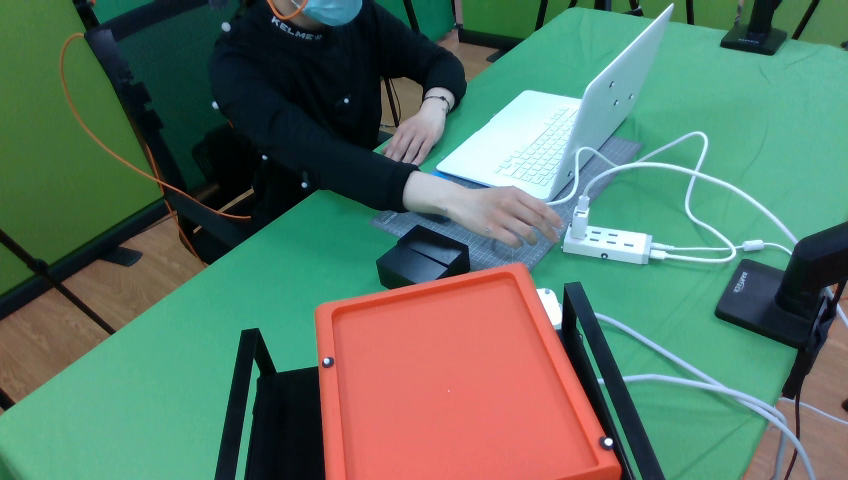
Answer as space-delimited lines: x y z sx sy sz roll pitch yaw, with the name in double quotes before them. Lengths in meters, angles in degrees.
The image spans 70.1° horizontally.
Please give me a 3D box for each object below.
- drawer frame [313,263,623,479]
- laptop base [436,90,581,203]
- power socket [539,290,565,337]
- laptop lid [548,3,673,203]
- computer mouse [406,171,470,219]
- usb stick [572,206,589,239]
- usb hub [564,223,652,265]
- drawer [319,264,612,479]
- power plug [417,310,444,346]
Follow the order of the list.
"drawer frame" 0.021 0.130 0.493 0.202 0.083 0.212 -11 41 -6
"laptop base" 0.214 -0.192 1.172 0.233 0.023 0.355 19 46 32
"power socket" 0.081 0.112 0.822 0.227 0.033 0.072 -6 41 0
"laptop lid" 0.320 -0.235 1.026 0.013 0.242 0.357 31 50 20
"computer mouse" 0.024 -0.082 1.049 0.063 0.041 0.116 -29 50 -28
"usb stick" 0.236 -0.020 0.916 0.021 0.059 0.027 8 40 15
"usb hub" 0.281 0.005 0.924 0.124 0.025 0.049 10 43 19
"drawer" 0.020 0.129 0.497 0.195 0.073 0.210 -11 41 -5
"power plug" 0.007 0.122 0.785 0.035 0.053 0.072 1 39 7
